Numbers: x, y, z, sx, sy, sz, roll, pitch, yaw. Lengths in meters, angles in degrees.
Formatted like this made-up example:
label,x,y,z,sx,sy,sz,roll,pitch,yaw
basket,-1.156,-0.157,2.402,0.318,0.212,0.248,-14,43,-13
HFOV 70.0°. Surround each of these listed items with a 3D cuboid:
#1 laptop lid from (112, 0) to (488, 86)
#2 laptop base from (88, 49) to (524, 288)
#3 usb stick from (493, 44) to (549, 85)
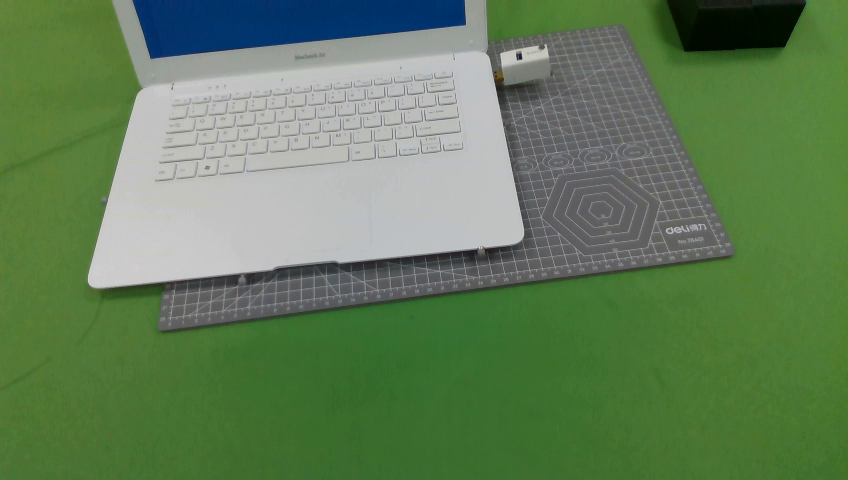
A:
label,x,y,z,sx,sy,sz,roll,pitch,yaw
laptop lid,-0.122,-0.269,0.555,0.357,0.243,0.013,-7,30,1
laptop base,-0.102,-0.072,0.547,0.354,0.023,0.233,-6,58,0
usb stick,0.088,-0.166,0.577,0.059,0.027,0.021,-10,56,12
